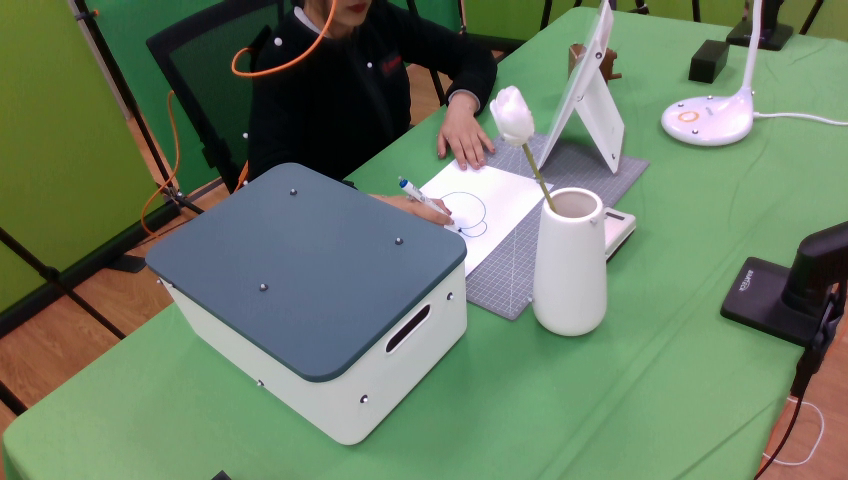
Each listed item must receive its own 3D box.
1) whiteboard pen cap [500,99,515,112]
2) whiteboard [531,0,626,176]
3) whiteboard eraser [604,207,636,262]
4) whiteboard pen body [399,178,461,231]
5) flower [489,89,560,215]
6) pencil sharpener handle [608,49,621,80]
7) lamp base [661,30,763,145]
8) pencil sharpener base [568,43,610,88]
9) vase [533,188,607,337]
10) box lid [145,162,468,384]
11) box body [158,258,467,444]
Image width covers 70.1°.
[{"bbox_3d":[0.177,-0.287,1.290,0.033,0.018,0.018,-37,47,-26],"label":"whiteboard pen cap"},{"bbox_3d":[0.320,-0.259,1.050,0.144,0.306,0.217,22,45,6],"label":"whiteboard"},{"bbox_3d":[0.272,-0.003,0.919,0.055,0.042,0.113,27,51,32],"label":"whiteboard eraser"},{"bbox_3d":[0.013,-0.054,0.965,0.017,0.142,0.017,-34,35,28],"label":"whiteboard pen body"},{"bbox_3d":[0.159,-0.027,0.720,0.038,0.364,0.044,-15,44,23],"label":"flower"},{"bbox_3d":[0.394,-0.367,1.253,0.030,0.068,0.036,-9,32,1],"label":"pencil sharpener handle"},{"bbox_3d":[0.535,-0.287,1.096,0.179,0.181,0.159,-10,40,-4],"label":"lamp base"},{"bbox_3d":[0.345,-0.352,1.263,0.077,0.107,0.061,-9,40,1],"label":"pencil sharpener base"},{"bbox_3d":[0.187,0.033,0.771,0.098,0.201,0.097,-6,41,6],"label":"vase"},{"bbox_3d":[-0.158,0.014,0.769,0.368,0.015,0.264,25,51,33],"label":"box lid"},{"bbox_3d":[-0.147,0.072,0.816,0.361,0.161,0.255,24,50,33],"label":"box body"}]
